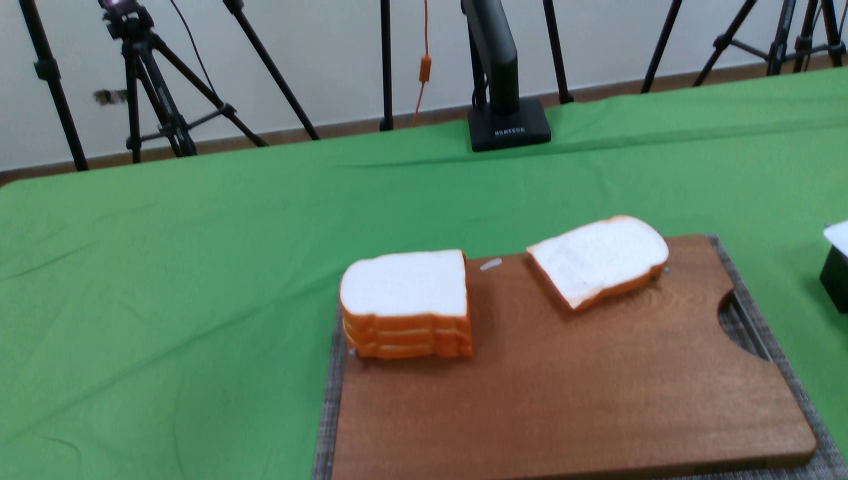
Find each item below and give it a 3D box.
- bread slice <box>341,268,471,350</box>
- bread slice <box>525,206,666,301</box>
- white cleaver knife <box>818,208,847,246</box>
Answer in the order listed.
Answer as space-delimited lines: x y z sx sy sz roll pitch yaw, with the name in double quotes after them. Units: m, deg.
-0.019 0.069 0.631 0.134 0.018 0.106 -1 38 4 "bread slice"
0.190 0.010 0.650 0.131 0.019 0.103 -21 39 -6 "bread slice"
0.456 0.056 0.523 0.066 0.022 0.283 -13 43 -2 "white cleaver knife"
